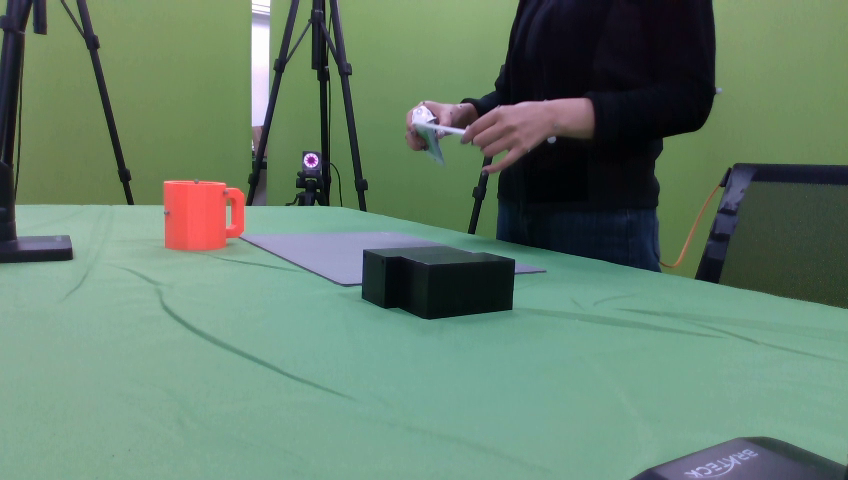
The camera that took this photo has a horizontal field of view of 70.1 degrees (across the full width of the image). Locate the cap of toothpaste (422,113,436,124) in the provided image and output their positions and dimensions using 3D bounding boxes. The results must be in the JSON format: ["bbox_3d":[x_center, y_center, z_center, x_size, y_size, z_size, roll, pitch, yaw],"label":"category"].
[{"bbox_3d":[0.002,-0.197,0.988,0.037,0.011,0.037,-23,2,1],"label":"cap of toothpaste"}]

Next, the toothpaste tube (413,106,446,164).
[{"bbox_3d":[0.009,-0.187,1.077,0.055,0.034,0.165,42,-8,21],"label":"toothpaste tube"}]

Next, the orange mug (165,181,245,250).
[{"bbox_3d":[-0.326,-0.040,0.911,0.083,0.101,0.127,8,14,37],"label":"orange mug"}]

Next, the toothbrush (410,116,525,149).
[{"bbox_3d":[0.068,-0.166,0.940,0.182,0.016,0.014,13,-8,2],"label":"toothbrush"}]
